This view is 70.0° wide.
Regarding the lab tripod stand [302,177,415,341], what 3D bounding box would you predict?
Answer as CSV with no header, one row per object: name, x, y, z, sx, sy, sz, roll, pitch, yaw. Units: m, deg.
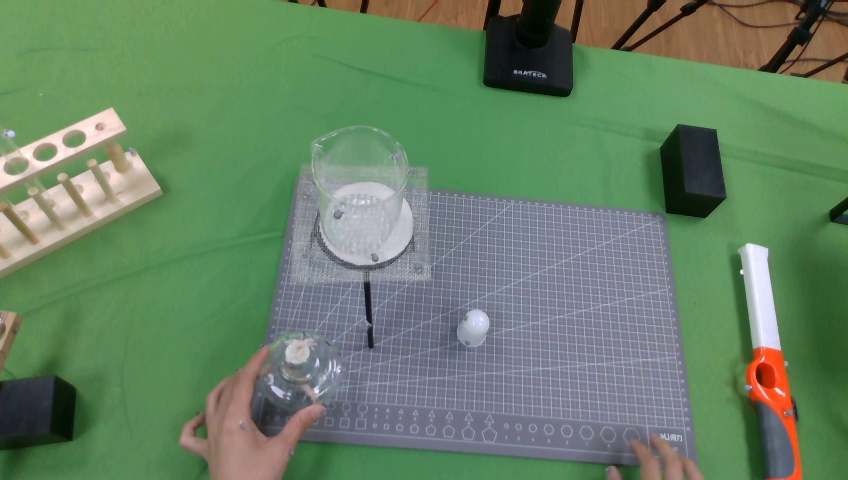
lab tripod stand,-0.060,0.013,0.605,0.149,0.132,0.147,3,64,-7

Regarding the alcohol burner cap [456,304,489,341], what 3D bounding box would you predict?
alcohol burner cap,0.052,0.085,0.634,0.034,0.048,0.033,1,66,-3

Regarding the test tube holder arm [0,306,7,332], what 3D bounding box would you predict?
test tube holder arm,-0.391,0.142,0.518,0.013,0.015,0.177,8,62,-2

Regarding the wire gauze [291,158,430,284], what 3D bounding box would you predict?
wire gauze,-0.057,-0.020,0.549,0.121,0.011,0.124,0,68,-5

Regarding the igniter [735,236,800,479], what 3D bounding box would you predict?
igniter,0.373,0.122,0.663,0.057,0.025,0.274,14,63,-12

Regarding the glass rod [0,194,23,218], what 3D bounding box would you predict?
glass rod,-0.431,-0.076,0.561,0.008,0.201,0.008,0,58,0

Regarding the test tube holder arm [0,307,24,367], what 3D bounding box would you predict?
test tube holder arm,-0.381,0.103,0.539,0.010,0.015,0.087,8,62,-1

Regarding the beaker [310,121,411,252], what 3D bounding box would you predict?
beaker,-0.056,-0.040,0.504,0.084,0.101,0.073,29,64,8

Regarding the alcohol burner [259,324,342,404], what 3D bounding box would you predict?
alcohol burner,-0.115,0.110,0.562,0.078,0.120,0.077,3,63,-6

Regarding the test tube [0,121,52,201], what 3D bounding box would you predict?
test tube,-0.398,-0.083,0.588,0.017,0.151,0.017,3,59,-5

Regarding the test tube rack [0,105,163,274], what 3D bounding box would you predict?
test tube rack,-0.407,-0.038,0.620,0.242,0.086,0.066,-33,71,-20
